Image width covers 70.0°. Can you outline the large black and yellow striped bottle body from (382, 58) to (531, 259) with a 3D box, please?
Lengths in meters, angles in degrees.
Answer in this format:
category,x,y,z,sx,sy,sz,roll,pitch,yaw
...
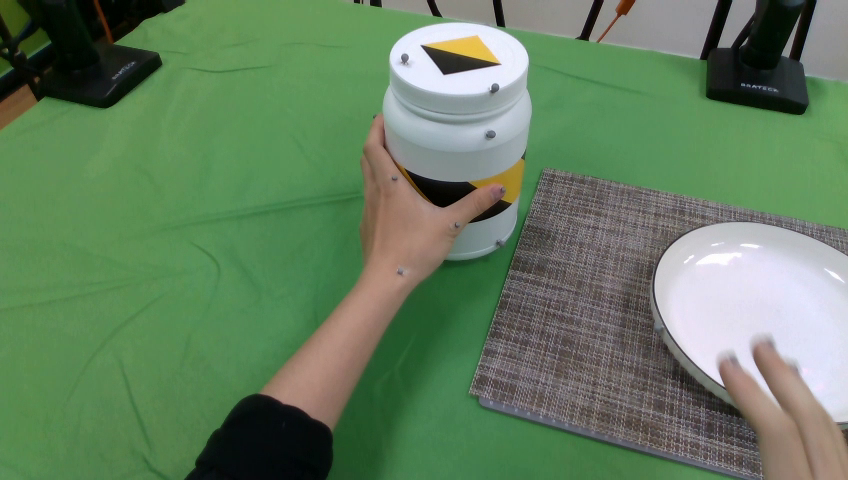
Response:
category,x,y,z,sx,sy,sz,roll,pitch,yaw
large black and yellow striped bottle body,0.029,-0.086,0.562,0.131,0.185,0.129,0,47,0

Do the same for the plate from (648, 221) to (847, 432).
category,x,y,z,sx,sy,sz,roll,pitch,yaw
plate,0.293,0.069,0.512,0.208,0.039,0.205,0,47,0

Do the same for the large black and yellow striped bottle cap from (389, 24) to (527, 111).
category,x,y,z,sx,sy,sz,roll,pitch,yaw
large black and yellow striped bottle cap,0.028,-0.145,0.500,0.115,0.019,0.114,1,46,-1
